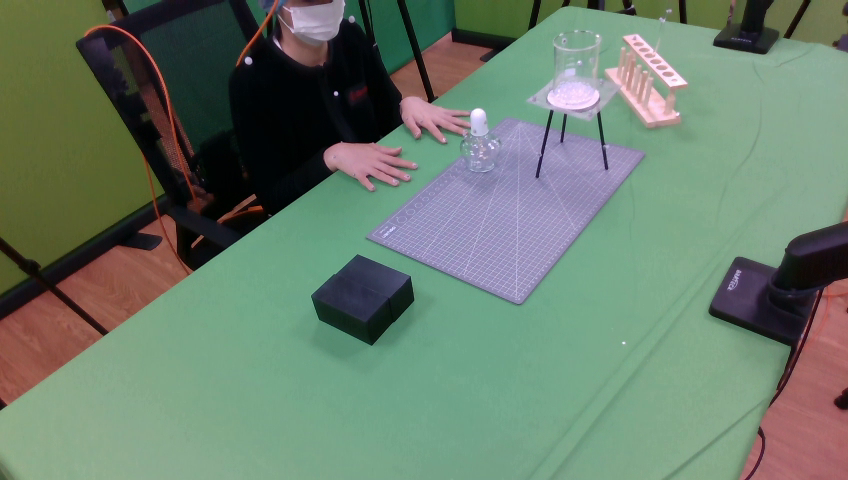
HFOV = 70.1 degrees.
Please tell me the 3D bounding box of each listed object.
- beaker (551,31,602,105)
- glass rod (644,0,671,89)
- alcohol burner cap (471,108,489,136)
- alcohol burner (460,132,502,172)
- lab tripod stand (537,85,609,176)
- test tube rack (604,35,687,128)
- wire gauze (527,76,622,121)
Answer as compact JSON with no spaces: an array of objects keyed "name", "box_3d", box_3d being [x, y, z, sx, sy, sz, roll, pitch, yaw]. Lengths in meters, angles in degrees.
[{"name":"beaker","box_3d":[0.252,-0.282,0.998,0.084,0.101,0.073,-16,42,-7]},{"name":"glass rod","box_3d":[0.463,-0.387,1.204,0.008,0.200,0.008,-1,47,1]},{"name":"alcohol burner cap","box_3d":[0.098,-0.211,1.074,0.034,0.048,0.033,-6,42,6]},{"name":"alcohol burner","box_3d":[0.102,-0.185,1.098,0.078,0.119,0.077,-6,40,5]},{"name":"lab tripod stand","box_3d":[0.259,-0.192,1.068,0.148,0.132,0.147,-4,42,4]},{"name":"test tube rack","box_3d":[0.447,-0.330,1.241,0.067,0.085,0.241,-9,41,-2]},{"name":"wire gauze","box_3d":[0.255,-0.247,1.031,0.124,0.011,0.122,23,49,34]}]
